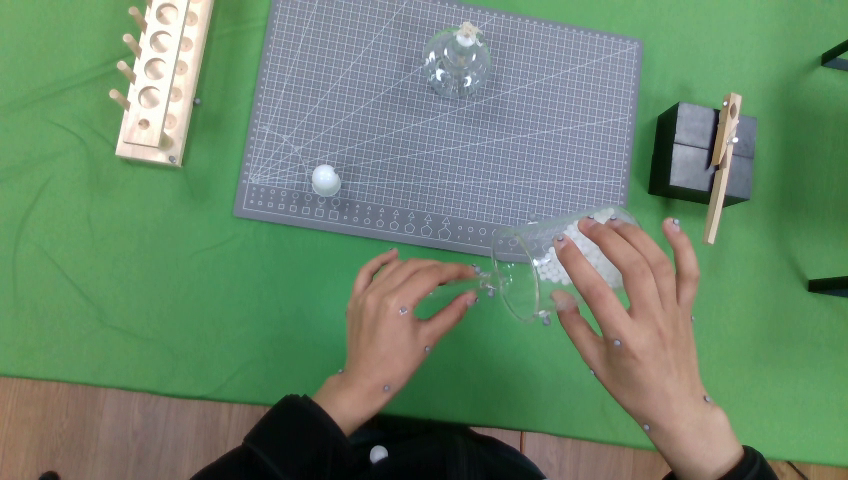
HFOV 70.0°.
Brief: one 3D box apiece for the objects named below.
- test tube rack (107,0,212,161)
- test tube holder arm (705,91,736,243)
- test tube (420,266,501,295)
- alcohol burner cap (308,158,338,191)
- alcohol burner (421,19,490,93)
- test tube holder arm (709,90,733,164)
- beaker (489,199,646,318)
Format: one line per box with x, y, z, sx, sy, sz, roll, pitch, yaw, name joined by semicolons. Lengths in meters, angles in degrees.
-0.279;-0.215;0.637;0.067;0.085;0.241;9;83;-6;test tube rack
0.341;-0.084;0.696;0.013;0.015;0.178;10;84;-4;test tube holder arm
0.029;0.038;0.556;0.017;0.150;0.017;3;81;-22;test tube
-0.112;-0.074;0.665;0.034;0.048;0.034;1;84;-8;alcohol burner cap
0.037;-0.208;0.663;0.078;0.119;0.077;1;84;-5;alcohol burner
0.343;-0.130;0.700;0.010;0.015;0.087;12;84;-3;test tube holder arm
0.109;0.012;0.465;0.100;0.084;0.074;-13;84;-16;beaker
